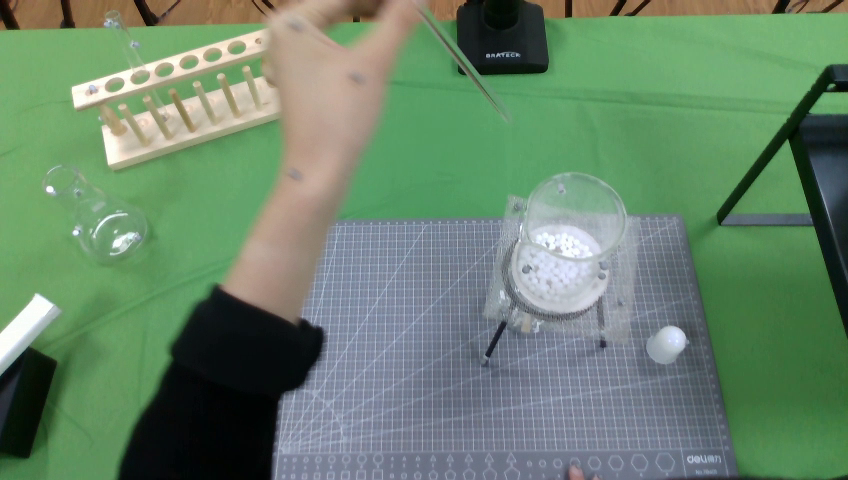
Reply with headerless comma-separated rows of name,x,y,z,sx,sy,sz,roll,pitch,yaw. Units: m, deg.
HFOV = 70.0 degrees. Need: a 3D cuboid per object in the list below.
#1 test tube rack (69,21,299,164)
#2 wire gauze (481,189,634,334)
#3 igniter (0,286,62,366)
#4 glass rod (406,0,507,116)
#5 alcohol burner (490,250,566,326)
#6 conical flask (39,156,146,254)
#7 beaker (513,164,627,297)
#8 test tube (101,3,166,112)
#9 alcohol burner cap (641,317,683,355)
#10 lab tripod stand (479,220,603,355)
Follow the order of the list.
test tube rack,-0.287,-0.180,0.743,0.242,0.086,0.066,-20,64,-8
wire gauze,0.121,0.016,0.532,0.121,0.011,0.124,12,63,5
igniter,-0.453,0.158,0.561,0.057,0.025,0.275,25,66,24
glass rod,-0.001,-0.129,0.347,0.008,0.202,0.008,-18,55,29
alcohol burner,0.106,0.042,0.605,0.078,0.120,0.077,0,62,0
conical flask,-0.362,-0.042,0.656,0.075,0.123,0.074,-1,63,2
beaker,0.109,-0.001,0.487,0.084,0.101,0.073,-22,66,-9
test tube,-0.332,-0.205,0.700,0.017,0.151,0.017,0,57,1
alcohol burner cap,0.244,0.095,0.615,0.034,0.048,0.033,-1,63,2
lab tripod stand,0.117,0.050,0.589,0.148,0.132,0.147,0,62,0
